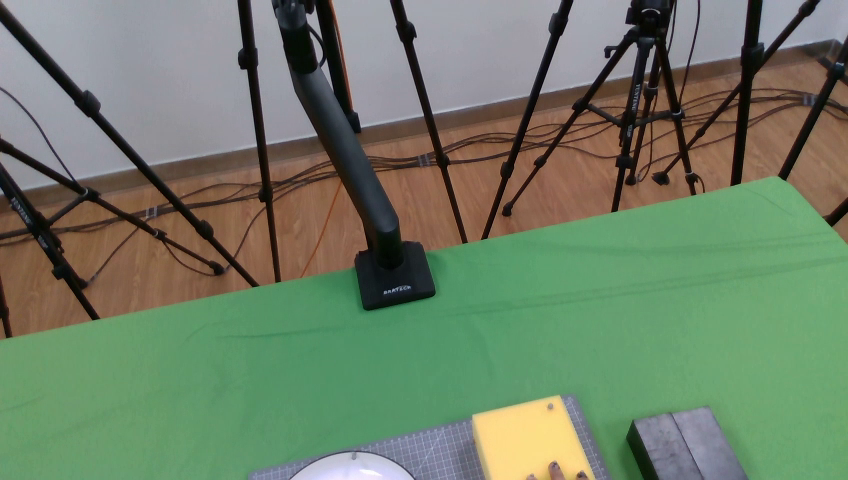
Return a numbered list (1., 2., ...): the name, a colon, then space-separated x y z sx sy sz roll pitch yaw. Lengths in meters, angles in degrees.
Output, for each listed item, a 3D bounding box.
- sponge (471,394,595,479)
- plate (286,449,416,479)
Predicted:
1. sponge: 0.141 0.299 0.727 0.118 0.061 0.204 -13 47 -6
2. plate: -0.091 0.353 0.714 0.209 0.038 0.207 -2 47 3
